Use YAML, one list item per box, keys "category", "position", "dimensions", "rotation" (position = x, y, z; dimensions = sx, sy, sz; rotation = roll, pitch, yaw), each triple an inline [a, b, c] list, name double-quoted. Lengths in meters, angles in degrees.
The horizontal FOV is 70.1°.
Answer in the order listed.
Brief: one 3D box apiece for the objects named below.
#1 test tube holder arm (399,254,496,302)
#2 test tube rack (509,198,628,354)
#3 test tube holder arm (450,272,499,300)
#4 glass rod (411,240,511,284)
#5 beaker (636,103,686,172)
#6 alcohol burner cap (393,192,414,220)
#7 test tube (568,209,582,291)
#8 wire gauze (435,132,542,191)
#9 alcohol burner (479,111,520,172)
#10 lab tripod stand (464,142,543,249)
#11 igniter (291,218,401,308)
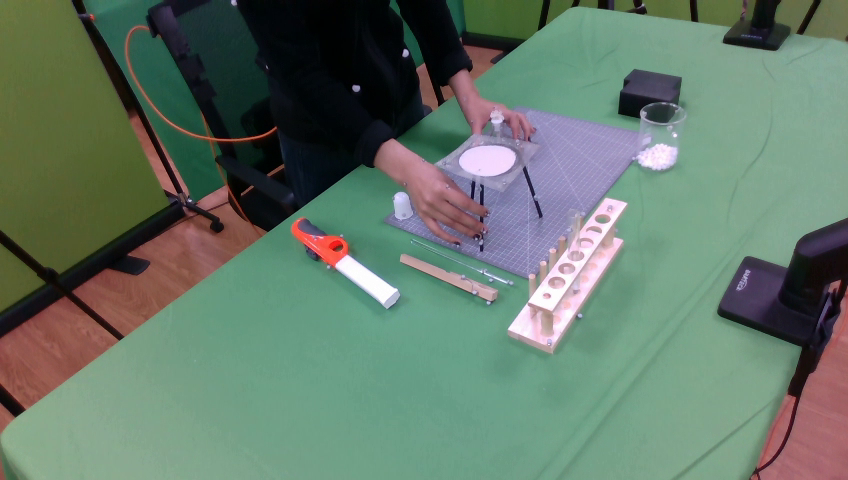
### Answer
- category: "test tube holder arm"
  position: [0.032, 0.055, 0.914]
  dimensions: [0.177, 0.015, 0.013]
  rotation: [21, 16, 32]
- category: "test tube rack"
  position: [0.206, 0.039, 0.850]
  dimensions: [0.066, 0.085, 0.243]
  rotation: [20, 48, 31]
- category: "test tube holder arm"
  position: [0.071, 0.068, 0.894]
  dimensions: [0.087, 0.015, 0.010]
  rotation: [21, 16, 32]
- category: "glass rod"
  position: [0.053, 0.034, 0.946]
  dimensions: [0.198, 0.008, 0.008]
  rotation: [22, 50, 36]
- category: "beaker"
  position: [0.413, -0.177, 1.055]
  dimensions: [0.084, 0.101, 0.073]
  rotation: [-28, 44, -21]
- category: "alcohol burner cap"
  position: [-0.038, -0.061, 1.043]
  dimensions: [0.034, 0.048, 0.033]
  rotation: [-5, 41, 5]
- category: "test tube"
  position: [0.200, 0.017, 0.799]
  dimensions: [0.017, 0.151, 0.017]
  rotation: [-8, 45, 8]
- category: "wire gauze"
  position: [0.098, -0.126, 0.918]
  dimensions: [0.124, 0.011, 0.122]
  rotation: [21, 47, 30]
- category: "alcohol burner"
  position: [0.136, -0.180, 1.096]
  dimensions: [0.078, 0.119, 0.077]
  rotation: [-4, 40, 4]
- category: "lab tripod stand"
  position: [0.118, -0.079, 0.964]
  dimensions: [0.148, 0.132, 0.147]
  rotation: [-5, 38, 4]
- category: "igniter"
  position: [-0.135, 0.030, 0.970]
  dimensions: [0.057, 0.025, 0.274]
  rotation: [-42, 49, -20]
